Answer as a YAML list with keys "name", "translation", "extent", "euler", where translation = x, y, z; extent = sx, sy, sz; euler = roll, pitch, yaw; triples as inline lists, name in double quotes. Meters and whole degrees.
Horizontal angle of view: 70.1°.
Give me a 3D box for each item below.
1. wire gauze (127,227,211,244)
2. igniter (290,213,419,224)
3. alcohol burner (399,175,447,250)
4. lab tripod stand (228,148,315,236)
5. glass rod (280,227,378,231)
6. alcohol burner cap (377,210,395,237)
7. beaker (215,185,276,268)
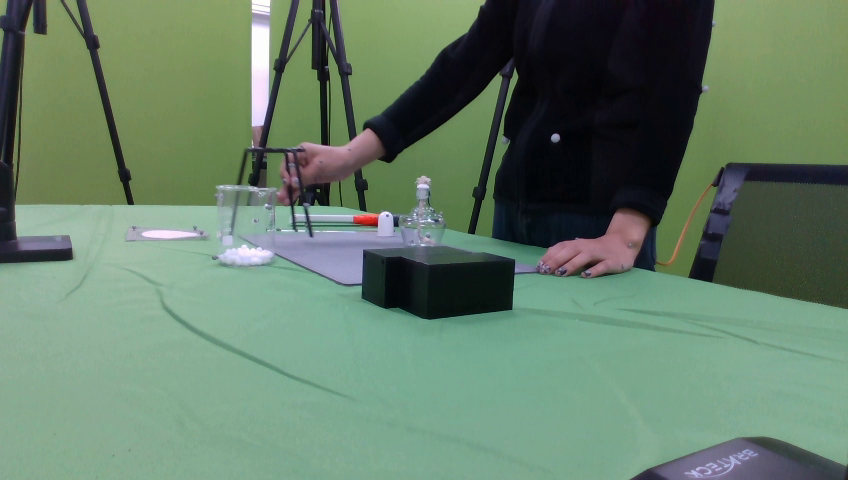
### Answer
- name: "wire gauze"
  translation: [-0.420, -0.010, 0.999]
  extent: [0.122, 0.011, 0.124]
  euler: [-2, 10, -24]
- name: "igniter"
  translation: [-0.143, -0.046, 1.288]
  extent: [0.278, 0.025, 0.057]
  euler: [-1, -3, -24]
- name: "alcohol burner"
  translation: [-0.002, -0.044, 0.961]
  extent: [0.078, 0.119, 0.078]
  euler: [0, 8, 0]
- name: "lab tripod stand"
  translation: [-0.222, -0.073, 0.913]
  extent: [0.148, 0.131, 0.148]
  euler: [-1, 9, 0]
- name: "glass rod"
  translation: [-0.175, -0.021, 1.161]
  extent: [0.200, 0.008, 0.008]
  euler: [0, 7, -15]
- name: "alcohol burner cap"
  translation: [-0.069, -0.031, 1.112]
  extent: [0.034, 0.048, 0.034]
  euler: [2, 8, 0]
- name: "beaker"
  translation: [-0.226, -0.019, 0.773]
  extent: [0.074, 0.100, 0.084]
  euler: [5, 7, 14]
